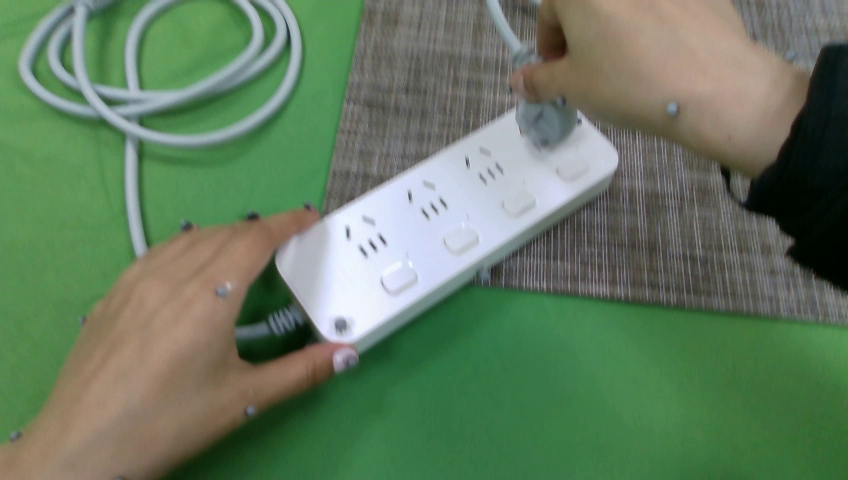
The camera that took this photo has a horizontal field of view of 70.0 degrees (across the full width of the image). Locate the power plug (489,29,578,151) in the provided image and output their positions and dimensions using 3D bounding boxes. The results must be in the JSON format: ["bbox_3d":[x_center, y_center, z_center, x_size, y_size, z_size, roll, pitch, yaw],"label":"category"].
[{"bbox_3d":[0.064,-0.086,0.359,0.035,0.053,0.072,-19,71,-15],"label":"power plug"}]

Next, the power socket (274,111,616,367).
[{"bbox_3d":[0.017,-0.012,0.357,0.227,0.033,0.071,-32,69,-17],"label":"power socket"}]
